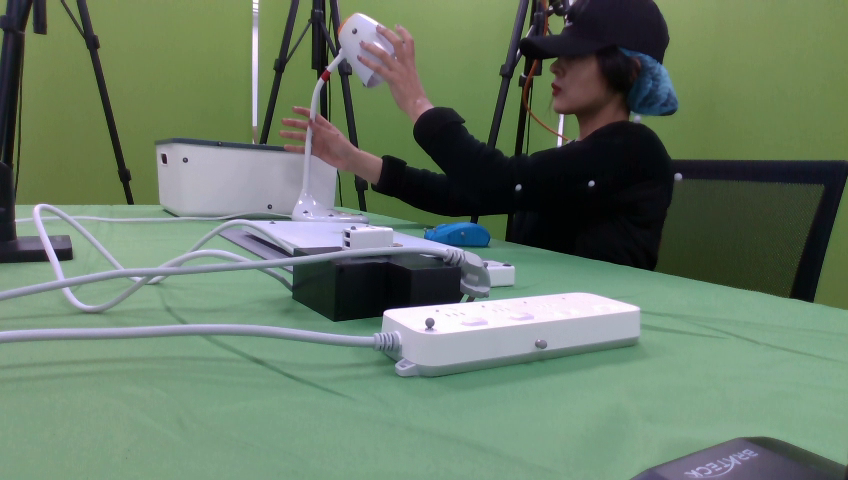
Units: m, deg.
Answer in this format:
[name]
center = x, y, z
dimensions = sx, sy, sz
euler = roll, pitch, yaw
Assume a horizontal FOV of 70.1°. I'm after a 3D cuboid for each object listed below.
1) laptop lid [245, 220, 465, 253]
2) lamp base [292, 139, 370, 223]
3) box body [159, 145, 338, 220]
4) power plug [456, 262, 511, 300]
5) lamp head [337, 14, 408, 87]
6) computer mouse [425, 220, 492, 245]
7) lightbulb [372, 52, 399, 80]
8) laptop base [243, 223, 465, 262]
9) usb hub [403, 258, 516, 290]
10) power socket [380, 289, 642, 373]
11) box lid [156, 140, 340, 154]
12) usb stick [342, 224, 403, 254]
[laptop lid]
center = -0.124, -0.009, 0.945
dimensions = 0.243, 0.013, 0.355
euler = 1, 7, -29
[lamp base]
center = -0.203, -0.120, 1.252
dimensions = 0.179, 0.180, 0.161
euler = 1, 6, 18
[box body]
center = -0.410, -0.139, 1.414
dimensions = 0.366, 0.160, 0.253
euler = -3, 8, -33
[power plug]
center = 0.051, 0.050, 0.543
dimensions = 0.035, 0.052, 0.072
euler = 7, 37, -20
[lamp head]
center = -0.111, -0.373, 1.174
dimensions = 0.123, 0.112, 0.112
euler = 42, 11, 2
[computer mouse]
center = 0.060, -0.013, 1.060
dimensions = 0.117, 0.041, 0.062
euler = -2, 9, -6
[lightbulb]
center = -0.092, -0.358, 1.167
dimensions = 0.059, 0.107, 0.059
euler = -36, -6, -4
[laptop base]
center = -0.126, 0.003, 0.946
dimensions = 0.237, 0.023, 0.352
euler = 2, 6, -31
[usb hub]
center = 0.042, 0.038, 0.690
dimensions = 0.126, 0.025, 0.049
euler = -2, 10, -29
[power socket]
center = 0.072, 0.064, 0.461
dimensions = 0.228, 0.032, 0.072
euler = -2, 8, -30
[box lid]
center = -0.409, -0.212, 1.404
dimensions = 0.373, 0.015, 0.262
euler = -2, 8, -32
[usb stick]
center = -0.047, -0.001, 0.567
dimensions = 0.059, 0.027, 0.021
euler = 0, 5, -32
